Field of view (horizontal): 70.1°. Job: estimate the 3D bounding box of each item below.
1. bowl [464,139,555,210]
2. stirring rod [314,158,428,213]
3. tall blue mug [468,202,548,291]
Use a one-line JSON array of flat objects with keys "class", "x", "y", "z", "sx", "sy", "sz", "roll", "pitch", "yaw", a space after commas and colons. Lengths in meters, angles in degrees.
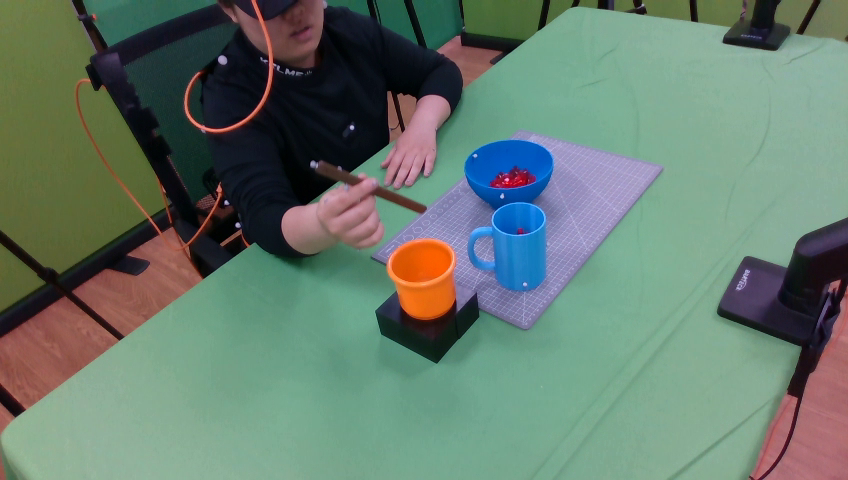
[{"class": "bowl", "x": 0.145, "y": -0.100, "z": 1.025, "sx": 0.151, "sy": 0.077, "sz": 0.150, "roll": -5, "pitch": 40, "yaw": 5}, {"class": "stirring rod", "x": -0.058, "y": -0.062, "z": 0.721, "sx": 0.014, "sy": 0.178, "sz": 0.005, "roll": -51, "pitch": 47, "yaw": 18}, {"class": "tall blue mug", "x": 0.125, "y": 0.015, "z": 0.869, "sx": 0.107, "sy": 0.108, "sz": 0.077, "roll": -21, "pitch": 42, "yaw": -14}]
